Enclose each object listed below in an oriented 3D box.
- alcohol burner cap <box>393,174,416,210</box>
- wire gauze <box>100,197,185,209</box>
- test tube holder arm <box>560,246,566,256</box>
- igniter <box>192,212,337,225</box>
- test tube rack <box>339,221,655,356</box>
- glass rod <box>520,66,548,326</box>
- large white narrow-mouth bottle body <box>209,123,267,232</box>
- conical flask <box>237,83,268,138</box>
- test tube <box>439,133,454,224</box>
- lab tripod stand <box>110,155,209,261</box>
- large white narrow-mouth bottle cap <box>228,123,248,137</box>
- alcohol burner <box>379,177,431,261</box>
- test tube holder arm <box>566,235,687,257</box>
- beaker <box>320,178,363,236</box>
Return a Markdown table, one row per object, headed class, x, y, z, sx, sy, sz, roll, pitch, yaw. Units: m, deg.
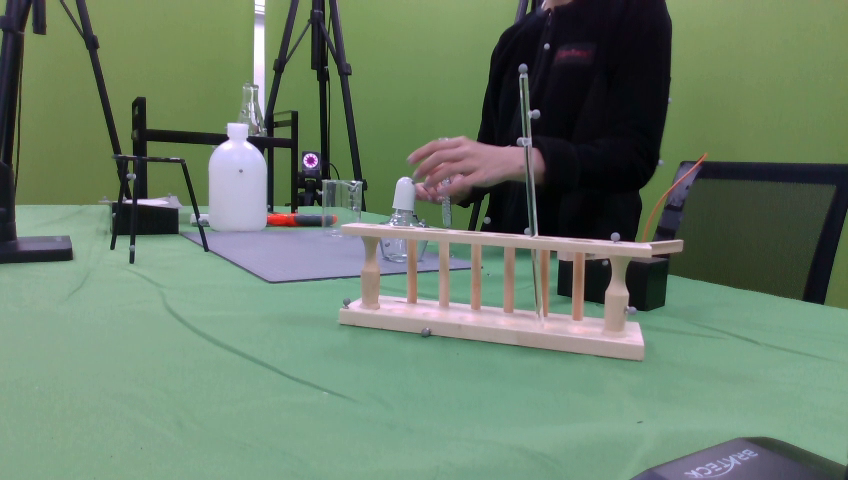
| class | x | y | z | sx | sy | sz | roll | pitch | yaw |
| --- | --- | --- | --- | --- | --- | --- | --- | --- | --- |
| alcohol burner cap | -0.025 | -0.067 | 0.834 | 0.034 | 0.048 | 0.034 | 7 | 9 | -1 |
| wire gauze | -0.469 | -0.062 | 1.008 | 0.126 | 0.011 | 0.121 | -2 | 8 | -25 |
| test tube holder arm | 0.173 | 0.007 | 0.612 | 0.088 | 0.015 | 0.010 | -3 | 8 | -29 |
| igniter | -0.312 | -0.042 | 1.203 | 0.278 | 0.025 | 0.057 | -1 | -5 | -25 |
| test tube rack | 0.056 | 0.032 | 0.495 | 0.242 | 0.085 | 0.067 | 4 | 7 | 15 |
| glass rod | 0.084 | -0.029 | 0.458 | 0.008 | 0.199 | 0.008 | -6 | 11 | 2 |
| large white narrow-mouth bottle body | -0.340 | -0.115 | 1.109 | 0.102 | 0.194 | 0.102 | 2 | 8 | 0 |
| conical flask | -0.402 | -0.299 | 1.406 | 0.075 | 0.122 | 0.075 | 2 | 7 | 0 |
| test tube | 0.037 | -0.099 | 0.990 | 0.017 | 0.150 | 0.017 | -4 | 16 | 1 |
| lab tripod stand | -0.361 | -0.046 | 0.806 | 0.148 | 0.131 | 0.148 | 2 | 5 | 0 |
| large white narrow-mouth bottle cap | -0.338 | -0.199 | 1.097 | 0.038 | 0.024 | 0.037 | 2 | 8 | 0 |
| alcohol burner | -0.027 | -0.031 | 0.838 | 0.078 | 0.119 | 0.078 | 0 | 6 | 0 |
| test tube holder arm | 0.215 | 0.006 | 0.630 | 0.179 | 0.015 | 0.013 | -3 | 9 | -31 |
| beaker | -0.145 | -0.059 | 1.078 | 0.074 | 0.100 | 0.083 | -4 | 10 | -36 |
